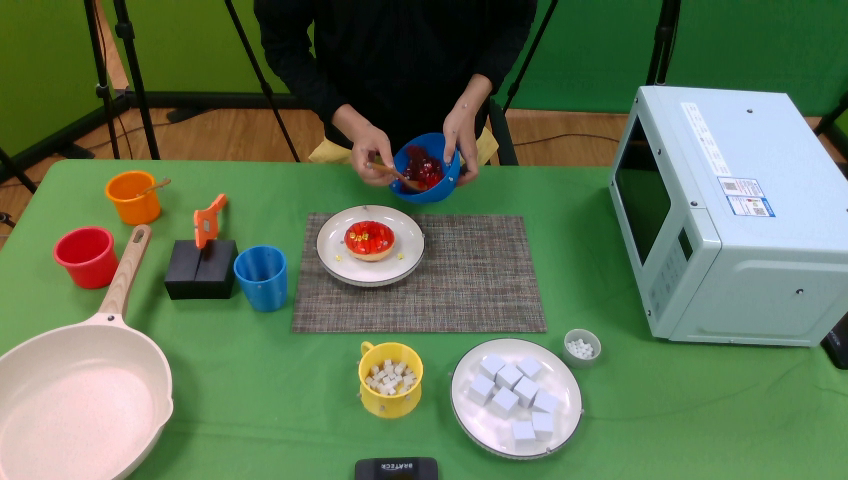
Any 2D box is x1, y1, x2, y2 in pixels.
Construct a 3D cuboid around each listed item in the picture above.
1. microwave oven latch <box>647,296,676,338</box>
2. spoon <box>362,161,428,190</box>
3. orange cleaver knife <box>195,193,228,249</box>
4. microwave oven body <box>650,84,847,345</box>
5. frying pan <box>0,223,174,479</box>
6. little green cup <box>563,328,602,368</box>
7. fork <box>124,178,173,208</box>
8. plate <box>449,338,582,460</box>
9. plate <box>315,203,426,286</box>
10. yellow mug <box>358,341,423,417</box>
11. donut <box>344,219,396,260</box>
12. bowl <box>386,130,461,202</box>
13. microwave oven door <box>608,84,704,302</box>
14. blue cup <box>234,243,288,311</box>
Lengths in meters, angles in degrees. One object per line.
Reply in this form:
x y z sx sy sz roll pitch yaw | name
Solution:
0.413 0.133 1.060 0.030 0.029 0.078 4 46 1 | microwave oven latch
-0.051 -0.120 1.103 0.041 0.194 0.021 39 100 31 | spoon
-0.406 -0.041 1.163 0.012 0.077 0.210 0 18 -3 | orange cleaver knife
0.569 -0.054 1.115 0.326 0.261 0.439 2 46 -1 | microwave oven body
-0.505 0.169 0.941 0.307 0.103 0.485 5 54 -1 | frying pan
0.265 0.184 1.025 0.061 0.039 0.061 2 46 -1 | little green cup
-0.525 -0.090 1.153 0.207 0.019 0.028 -18 27 45 | fork
0.141 0.251 0.955 0.208 0.039 0.206 2 46 -2 | plate
-0.101 0.012 1.159 0.209 0.038 0.208 2 46 -2 | plate
-0.062 0.210 0.961 0.100 0.064 0.130 -29 54 -27 | yellow mug
-0.103 -0.003 1.157 0.099 0.048 0.098 3 43 -3 | donut
0.013 -0.127 1.162 0.151 0.077 0.150 -17 52 23 | bowl
0.424 -0.096 1.138 0.039 0.245 0.353 3 46 -1 | microwave oven door
-0.276 0.072 1.052 0.093 0.101 0.092 1 48 -1 | blue cup
